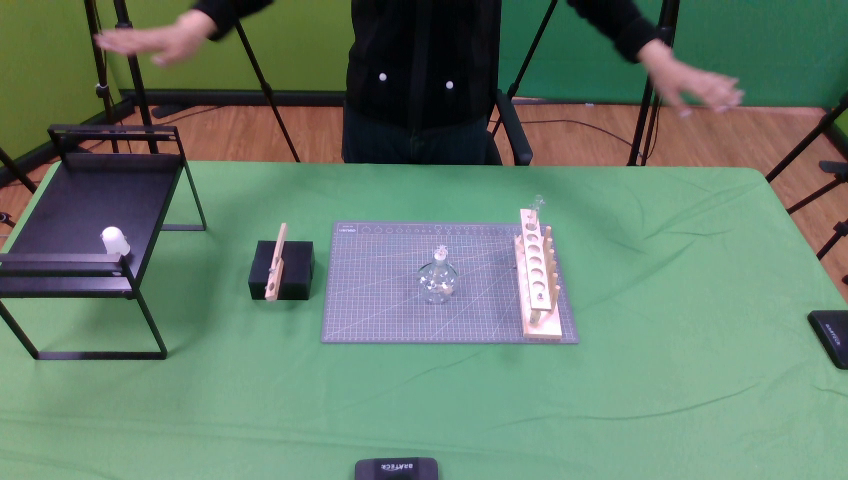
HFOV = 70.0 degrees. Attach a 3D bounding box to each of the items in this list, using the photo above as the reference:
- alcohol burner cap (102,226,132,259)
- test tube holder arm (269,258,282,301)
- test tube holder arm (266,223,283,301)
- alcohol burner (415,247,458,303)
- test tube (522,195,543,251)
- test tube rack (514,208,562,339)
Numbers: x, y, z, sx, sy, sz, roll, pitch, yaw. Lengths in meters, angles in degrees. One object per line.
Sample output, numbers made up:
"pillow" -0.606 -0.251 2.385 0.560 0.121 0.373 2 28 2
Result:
"alcohol burner cap" -0.456 0.001 0.897 0.034 0.048 0.033 2 47 -2
"test tube holder arm" -0.257 0.067 1.049 0.010 0.015 0.087 -4 46 -1
"test tube holder arm" -0.266 0.035 1.080 0.013 0.015 0.177 -5 46 -2
"alcohol burner" 0.024 0.057 1.078 0.078 0.119 0.077 3 44 -2
"test tube" 0.200 -0.028 1.125 0.017 0.151 0.017 1 50 -1
"test tube rack" 0.212 0.056 1.113 0.067 0.085 0.241 3 46 -1
